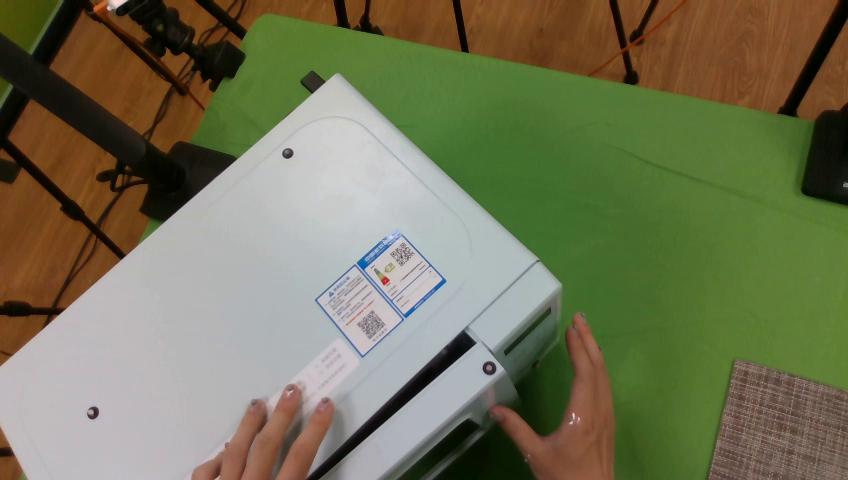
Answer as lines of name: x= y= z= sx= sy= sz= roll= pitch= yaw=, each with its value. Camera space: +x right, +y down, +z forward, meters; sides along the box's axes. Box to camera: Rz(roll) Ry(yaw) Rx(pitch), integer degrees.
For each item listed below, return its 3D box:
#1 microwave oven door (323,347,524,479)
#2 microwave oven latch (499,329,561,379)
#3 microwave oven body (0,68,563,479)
microwave oven door: x=-0.059 y=0.237 z=0.562 sx=0.356 sy=0.246 sz=0.039 roll=-40 pitch=67 yaw=-4
microwave oven latch: x=0.118 y=0.119 z=0.677 sx=0.079 sy=0.030 sz=0.030 roll=-41 pitch=69 yaw=-4
microwave oven body: x=-0.128 y=0.108 z=0.626 sx=0.441 sy=0.262 sz=0.323 roll=-43 pitch=69 yaw=-4
